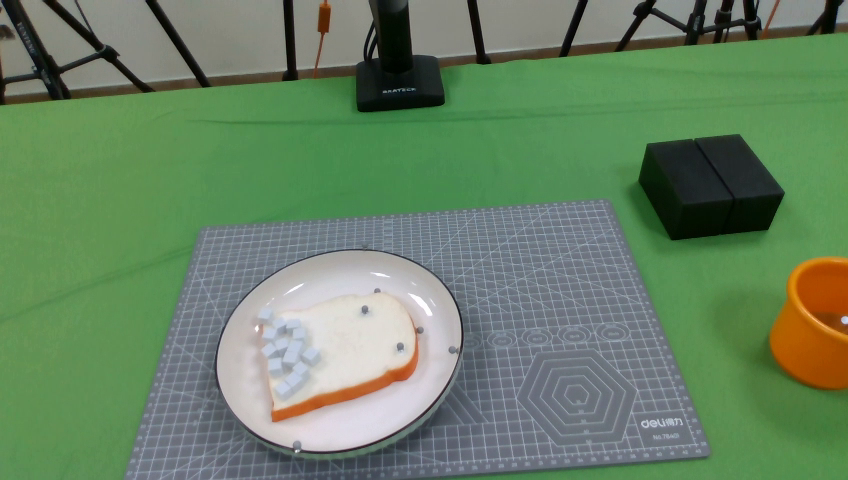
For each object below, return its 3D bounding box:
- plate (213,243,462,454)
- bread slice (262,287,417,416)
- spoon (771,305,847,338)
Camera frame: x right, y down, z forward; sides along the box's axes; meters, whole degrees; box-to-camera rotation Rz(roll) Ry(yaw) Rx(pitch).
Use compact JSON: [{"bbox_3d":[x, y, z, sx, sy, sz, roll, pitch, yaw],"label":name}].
[{"bbox_3d":[-0.071,0.089,0.520,0.209,0.038,0.207,-1,46,2],"label":"plate"},{"bbox_3d":[-0.074,0.087,0.526,0.132,0.019,0.103,-15,47,-9],"label":"bread slice"},{"bbox_3d":[0.363,0.051,0.455,0.041,0.193,0.022,-41,99,-35],"label":"spoon"}]
